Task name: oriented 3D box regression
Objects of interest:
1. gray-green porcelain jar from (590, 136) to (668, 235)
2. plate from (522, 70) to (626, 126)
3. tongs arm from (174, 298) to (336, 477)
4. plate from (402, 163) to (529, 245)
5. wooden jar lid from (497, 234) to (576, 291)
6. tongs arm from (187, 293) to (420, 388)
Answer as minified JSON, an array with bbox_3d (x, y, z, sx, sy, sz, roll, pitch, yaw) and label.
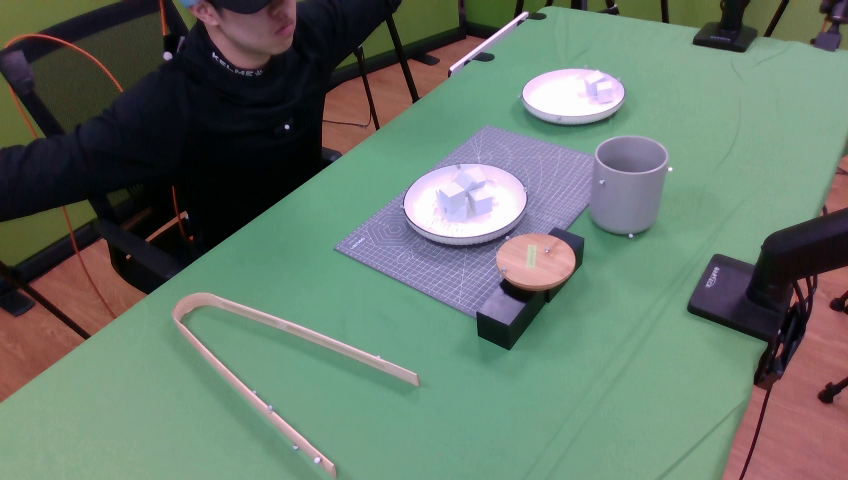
[{"bbox_3d":[0.314,-0.080,0.937,0.106,0.127,0.105,-4,41,4],"label":"gray-green porcelain jar"},{"bbox_3d":[0.308,-0.290,1.251,0.207,0.039,0.206,-4,40,4],"label":"plate"},{"bbox_3d":[-0.226,0.176,0.785,0.381,0.026,0.051,26,48,34],"label":"tongs arm"},{"bbox_3d":[0.069,-0.056,1.008,0.209,0.038,0.208,-4,40,4],"label":"plate"},{"bbox_3d":[0.154,0.032,0.834,0.108,0.021,0.108,-5,40,5],"label":"wooden jar lid"},{"bbox_3d":[-0.177,0.134,0.836,0.385,0.028,0.028,15,47,24],"label":"tongs arm"}]
